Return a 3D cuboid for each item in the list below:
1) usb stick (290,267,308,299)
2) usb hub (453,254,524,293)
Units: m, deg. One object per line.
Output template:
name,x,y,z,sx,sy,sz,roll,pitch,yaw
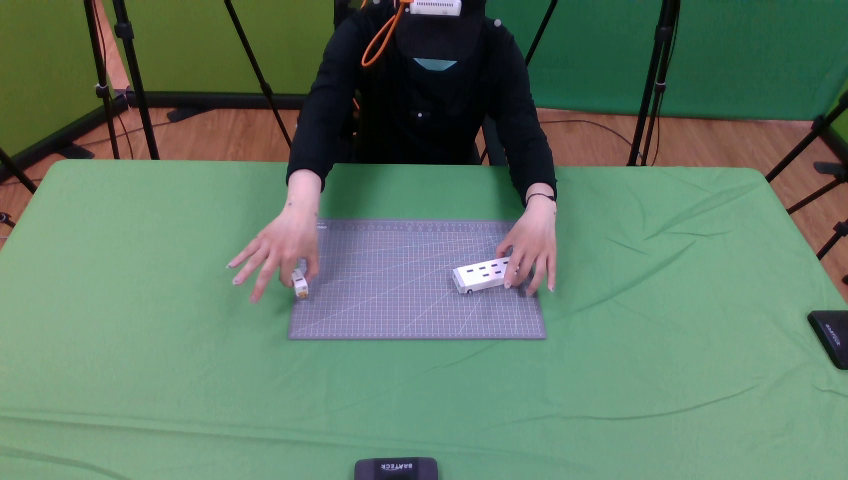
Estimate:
usb stick,-0.220,0.078,1.075,0.021,0.027,0.059,-14,52,-20
usb hub,0.121,0.063,1.135,0.125,0.025,0.049,-12,48,-14
